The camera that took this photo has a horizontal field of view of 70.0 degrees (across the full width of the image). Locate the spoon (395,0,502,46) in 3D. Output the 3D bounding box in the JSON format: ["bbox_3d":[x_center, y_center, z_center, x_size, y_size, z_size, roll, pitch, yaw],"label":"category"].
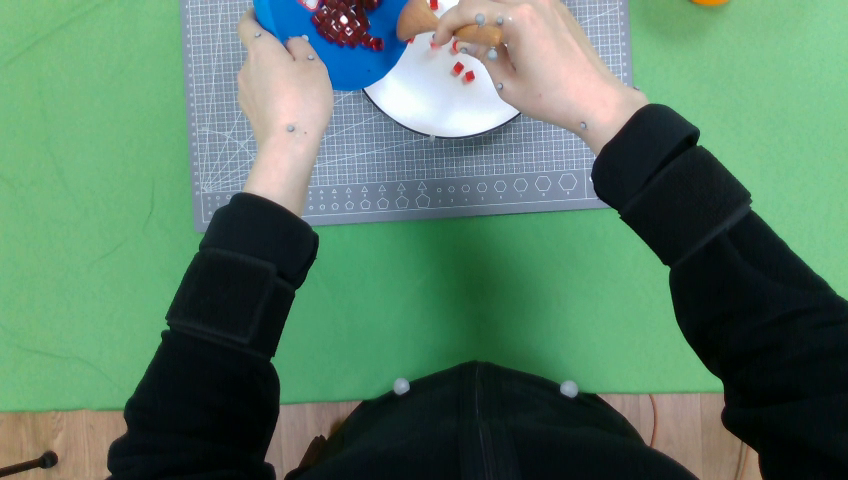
[{"bbox_3d":[0.014,-0.160,0.445,0.022,0.191,0.042,21,103,-31],"label":"spoon"}]

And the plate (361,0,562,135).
[{"bbox_3d":[0.028,-0.205,0.590,0.209,0.038,0.209,0,91,3],"label":"plate"}]

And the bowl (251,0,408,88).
[{"bbox_3d":[-0.086,-0.207,0.500,0.076,0.153,0.151,24,93,40],"label":"bowl"}]
